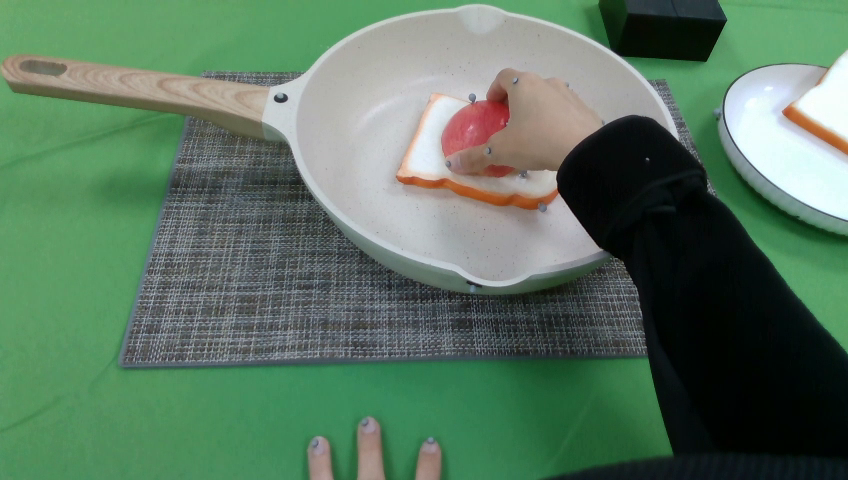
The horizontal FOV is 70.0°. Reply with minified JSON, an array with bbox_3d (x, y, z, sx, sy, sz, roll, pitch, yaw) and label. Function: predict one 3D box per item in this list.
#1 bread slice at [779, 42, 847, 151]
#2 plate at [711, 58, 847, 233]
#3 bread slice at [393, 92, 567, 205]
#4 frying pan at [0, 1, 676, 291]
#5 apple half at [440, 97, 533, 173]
[{"bbox_3d":[0.414,-0.140,0.557,0.131,0.019,0.104,-45,67,-7],"label":"bread slice"},{"bbox_3d":[0.355,-0.082,0.535,0.208,0.039,0.205,2,53,-3],"label":"plate"},{"bbox_3d":[0.052,-0.076,0.510,0.134,0.018,0.106,11,53,6],"label":"bread slice"},{"bbox_3d":[-0.060,-0.093,0.464,0.489,0.103,0.304,9,51,-8],"label":"frying pan"},{"bbox_3d":[0.051,-0.092,0.493,0.081,0.033,0.080,2,53,-2],"label":"apple half"}]
